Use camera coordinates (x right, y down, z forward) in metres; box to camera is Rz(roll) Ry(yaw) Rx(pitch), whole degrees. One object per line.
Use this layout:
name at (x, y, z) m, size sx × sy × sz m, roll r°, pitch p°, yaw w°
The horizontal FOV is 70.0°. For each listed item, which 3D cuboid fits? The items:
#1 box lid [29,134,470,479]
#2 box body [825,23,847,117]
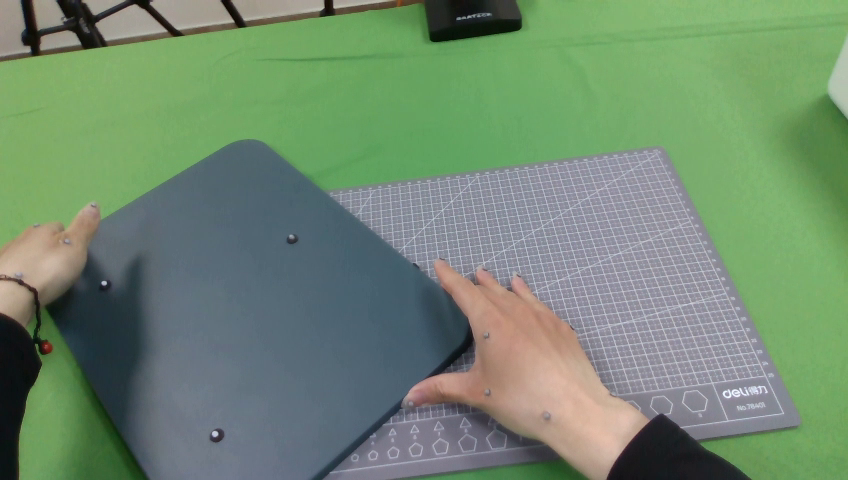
box lid at (-0.167, 0.047, 0.536) m, size 0.263 × 0.015 × 0.368 m, roll -38°, pitch 56°, yaw -22°
box body at (0.541, -0.103, 0.478) m, size 0.254 × 0.162 × 0.360 m, roll -8°, pitch 50°, yaw 0°
